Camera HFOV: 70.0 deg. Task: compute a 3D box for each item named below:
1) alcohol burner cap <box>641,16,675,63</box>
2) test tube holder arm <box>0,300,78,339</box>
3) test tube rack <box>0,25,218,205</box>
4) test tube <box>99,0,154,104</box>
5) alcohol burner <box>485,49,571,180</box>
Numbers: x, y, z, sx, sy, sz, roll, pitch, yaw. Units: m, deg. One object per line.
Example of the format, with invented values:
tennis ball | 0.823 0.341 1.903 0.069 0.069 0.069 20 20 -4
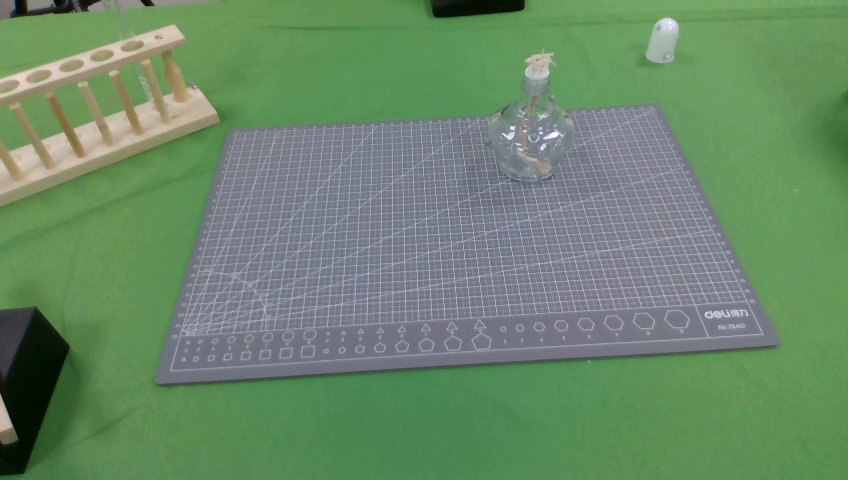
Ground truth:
alcohol burner cap | 0.268 -0.229 0.687 0.034 0.048 0.033 -3 48 3
test tube holder arm | -0.286 0.045 0.401 0.177 0.013 0.015 5 1 31
test tube rack | -0.339 -0.121 0.590 0.242 0.086 0.066 -27 53 -21
test tube | -0.292 -0.199 0.590 0.017 0.152 0.017 -3 45 4
alcohol burner | 0.094 -0.113 0.538 0.078 0.120 0.077 -1 46 1
